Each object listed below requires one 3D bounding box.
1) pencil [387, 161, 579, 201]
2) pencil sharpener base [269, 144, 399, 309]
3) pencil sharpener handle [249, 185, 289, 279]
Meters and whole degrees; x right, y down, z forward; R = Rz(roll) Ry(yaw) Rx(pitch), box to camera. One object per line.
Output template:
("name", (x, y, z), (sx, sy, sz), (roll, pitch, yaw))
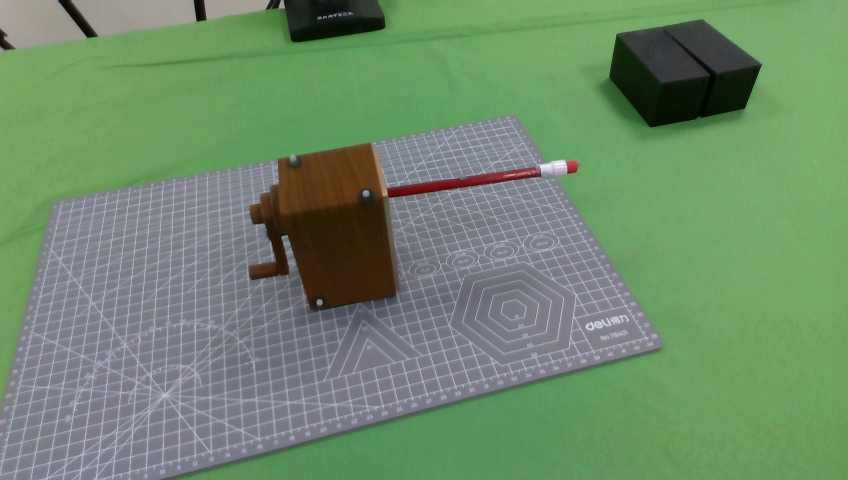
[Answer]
("pencil", (0.017, -0.038, 0.431), (0.194, 0.012, 0.012), (-9, 46, -7))
("pencil sharpener base", (-0.063, -0.007, 0.441), (0.077, 0.108, 0.060), (-10, 46, -6))
("pencil sharpener handle", (-0.113, -0.003, 0.422), (0.031, 0.068, 0.035), (-10, 27, -6))
